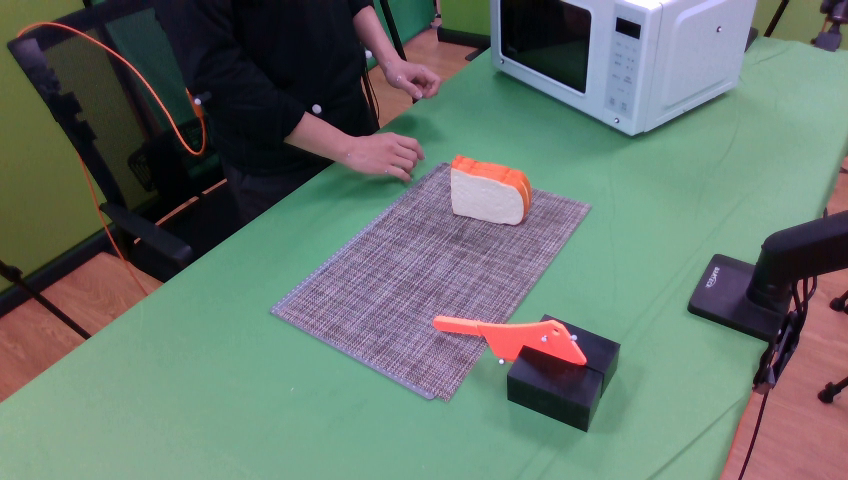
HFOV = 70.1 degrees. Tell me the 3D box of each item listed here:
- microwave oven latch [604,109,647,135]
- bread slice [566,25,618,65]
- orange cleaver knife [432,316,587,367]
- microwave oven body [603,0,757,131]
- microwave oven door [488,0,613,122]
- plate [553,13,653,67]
[{"bbox_3d":[0.378,-0.225,1.139,0.030,0.029,0.078,-26,43,-20],"label":"microwave oven latch"},{"bbox_3d":[0.362,-0.428,1.324,0.107,0.018,0.133,0,51,7],"label":"bread slice"},{"bbox_3d":[0.101,0.127,0.761,0.210,0.077,0.012,-1,34,40],"label":"orange cleaver knife"},{"bbox_3d":[0.396,-0.448,1.248,0.327,0.261,0.437,-27,44,-21],"label":"microwave oven body"},{"bbox_3d":[0.250,-0.412,1.219,0.039,0.245,0.352,-27,44,-21],"label":"microwave oven door"},{"bbox_3d":[0.385,-0.428,1.311,0.207,0.039,0.206,-3,45,4],"label":"plate"}]
